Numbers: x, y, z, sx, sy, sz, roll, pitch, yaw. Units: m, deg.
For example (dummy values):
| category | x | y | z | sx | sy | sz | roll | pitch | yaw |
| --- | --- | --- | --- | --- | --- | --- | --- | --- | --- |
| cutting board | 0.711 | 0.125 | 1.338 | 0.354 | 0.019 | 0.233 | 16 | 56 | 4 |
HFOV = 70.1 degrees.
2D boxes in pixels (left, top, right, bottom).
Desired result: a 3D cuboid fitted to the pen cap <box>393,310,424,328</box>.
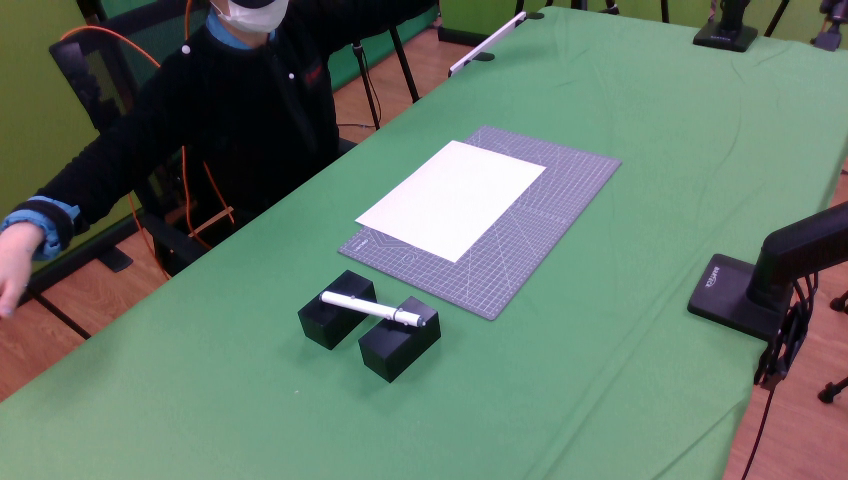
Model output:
| category | x | y | z | sx | sy | sz | roll | pitch | yaw |
| --- | --- | --- | --- | --- | --- | --- | --- | --- | --- |
| pen cap | -0.019 | 0.102 | 0.778 | 0.038 | 0.017 | 0.017 | 12 | 44 | 21 |

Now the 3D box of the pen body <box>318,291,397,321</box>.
| category | x | y | z | sx | sy | sz | roll | pitch | yaw |
| --- | --- | --- | --- | --- | --- | --- | --- | --- | --- |
| pen body | -0.076 | 0.089 | 0.801 | 0.143 | 0.017 | 0.017 | 12 | 44 | 21 |
